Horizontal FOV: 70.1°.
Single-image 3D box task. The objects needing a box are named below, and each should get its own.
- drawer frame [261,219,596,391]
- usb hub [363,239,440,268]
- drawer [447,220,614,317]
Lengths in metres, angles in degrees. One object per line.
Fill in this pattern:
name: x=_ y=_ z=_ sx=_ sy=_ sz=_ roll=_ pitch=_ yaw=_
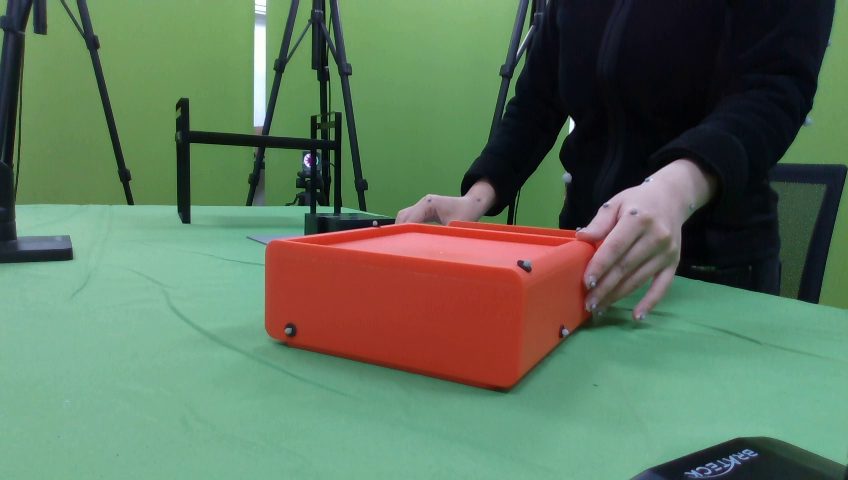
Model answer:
drawer frame: x=0.017 y=0.036 z=0.494 sx=0.201 sy=0.082 sz=0.214 roll=6 pitch=9 yaw=26
usb hub: x=-0.028 y=0.017 z=0.828 sx=0.049 sy=0.025 sz=0.126 roll=5 pitch=7 yaw=29
drawer: x=0.061 y=0.031 z=0.579 sx=0.194 sy=0.073 sz=0.212 roll=7 pitch=10 yaw=28
